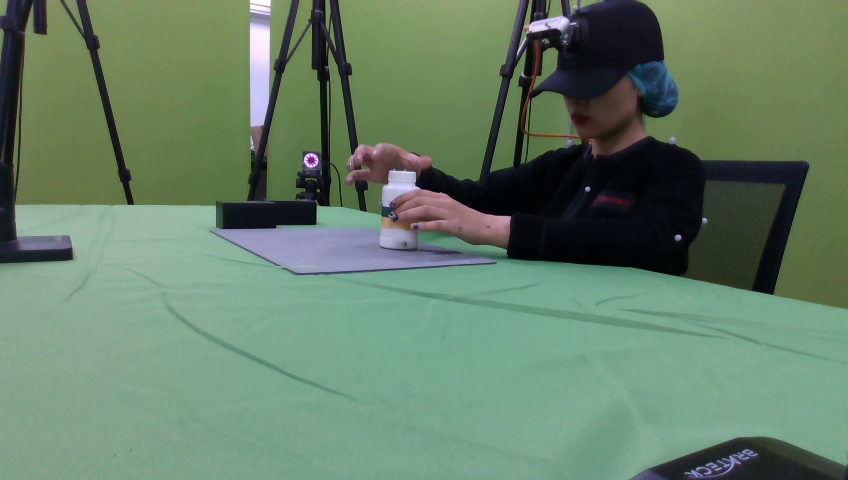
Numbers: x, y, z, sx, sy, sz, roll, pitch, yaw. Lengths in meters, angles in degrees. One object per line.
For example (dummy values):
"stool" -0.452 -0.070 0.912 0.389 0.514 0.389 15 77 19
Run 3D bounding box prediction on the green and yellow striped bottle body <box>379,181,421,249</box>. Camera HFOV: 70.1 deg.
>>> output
"green and yellow striped bottle body" -0.038 -0.048 0.960 0.063 0.119 0.063 3 7 0

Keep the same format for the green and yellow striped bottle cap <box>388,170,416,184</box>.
"green and yellow striped bottle cap" -0.034 -0.100 0.954 0.045 0.020 0.045 6 5 0
